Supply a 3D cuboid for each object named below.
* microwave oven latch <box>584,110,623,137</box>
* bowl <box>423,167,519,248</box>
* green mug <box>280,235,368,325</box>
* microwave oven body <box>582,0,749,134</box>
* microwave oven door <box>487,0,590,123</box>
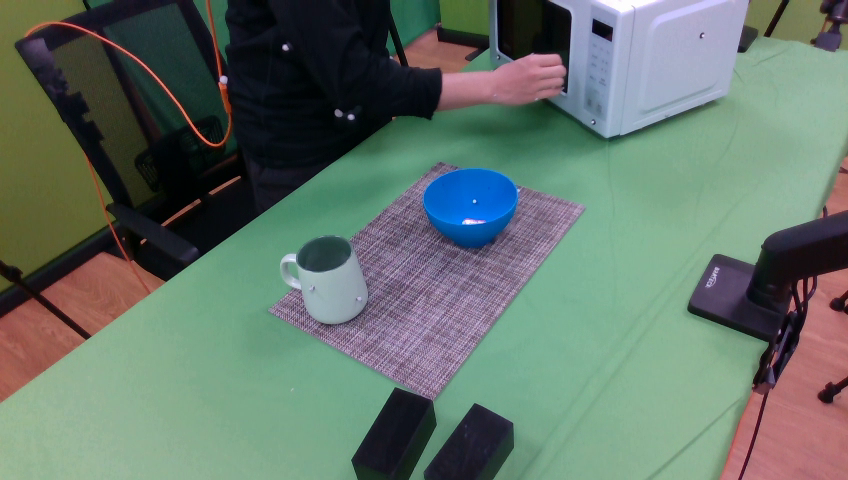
[{"bbox_3d":[0.337,-0.222,1.142,0.030,0.029,0.078,-21,42,-14],"label":"microwave oven latch"},{"bbox_3d":[0.075,-0.041,0.958,0.151,0.077,0.150,-4,40,4],"label":"bowl"},{"bbox_3d":[-0.146,0.055,0.857,0.125,0.105,0.092,8,43,17],"label":"green mug"},{"bbox_3d":[0.382,-0.445,1.246,0.327,0.261,0.437,-22,42,-16],"label":"microwave oven body"},{"bbox_3d":[0.232,-0.420,1.231,0.039,0.245,0.352,-22,43,-16],"label":"microwave oven door"}]
